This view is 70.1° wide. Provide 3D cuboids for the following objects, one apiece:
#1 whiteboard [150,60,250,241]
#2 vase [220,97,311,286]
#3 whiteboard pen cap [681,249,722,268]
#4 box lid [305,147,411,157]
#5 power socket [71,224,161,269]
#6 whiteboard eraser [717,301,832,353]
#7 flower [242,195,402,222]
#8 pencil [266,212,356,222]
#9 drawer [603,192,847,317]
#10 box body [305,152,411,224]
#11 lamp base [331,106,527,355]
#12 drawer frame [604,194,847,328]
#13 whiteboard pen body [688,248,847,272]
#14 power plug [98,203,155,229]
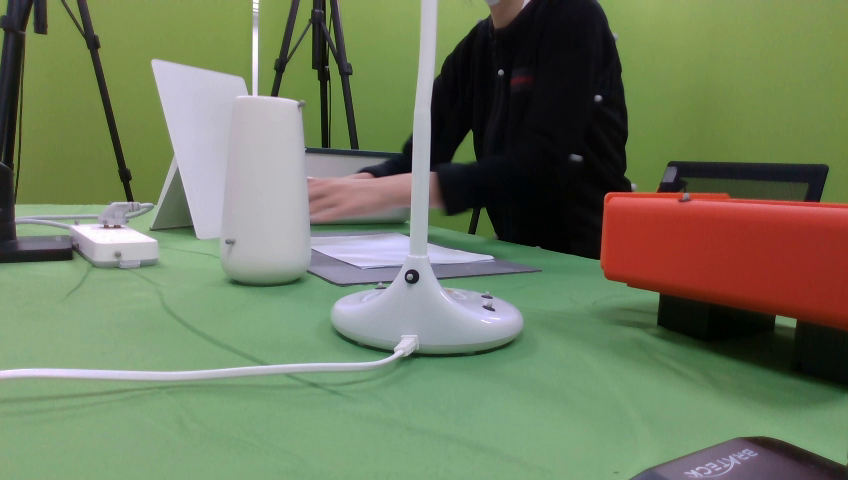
[{"bbox_3d":[-0.408,-0.139,1.093,0.143,0.305,0.218,-15,-1,26],"label":"whiteboard"},{"bbox_3d":[-0.172,-0.052,0.662,0.098,0.200,0.098,3,8,0],"label":"vase"},{"bbox_3d":[0.250,0.017,0.544,0.033,0.018,0.018,2,7,25],"label":"whiteboard pen cap"},{"bbox_3d":[-0.229,-0.200,1.361,0.373,0.015,0.262,-2,9,-33],"label":"box lid"},{"bbox_3d":[-0.408,0.004,0.793,0.072,0.032,0.225,-2,8,-38],"label":"power socket"},{"bbox_3d":[0.256,0.042,0.472,0.112,0.042,0.056,43,19,31],"label":"whiteboard eraser"},{"bbox_3d":[-0.231,-0.064,1.372,0.362,0.038,0.044,6,40,-2],"label":"flower"},{"bbox_3d":[-0.244,-0.049,1.319,0.195,0.012,0.012,4,7,-12],"label":"pencil"},{"bbox_3d":[0.293,0.002,0.500,0.195,0.073,0.210,-1,8,-34],"label":"drawer"},{"bbox_3d":[-0.230,-0.126,1.371,0.366,0.160,0.253,-2,9,-33],"label":"box body"},{"bbox_3d":[0.006,-0.012,0.478,0.161,0.180,0.179,2,10,2],"label":"lamp base"},{"bbox_3d":[0.298,0.007,0.497,0.203,0.082,0.212,-1,7,-34],"label":"drawer frame"},{"bbox_3d":[0.304,0.017,0.520,0.140,0.017,0.017,2,7,26],"label":"whiteboard pen body"},{"bbox_3d":[-0.416,-0.026,0.848,0.073,0.052,0.035,1,7,-29],"label":"power plug"}]
